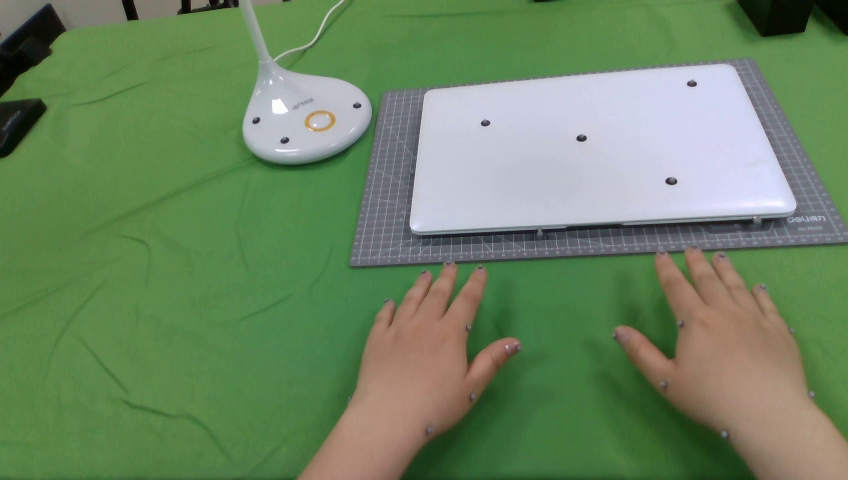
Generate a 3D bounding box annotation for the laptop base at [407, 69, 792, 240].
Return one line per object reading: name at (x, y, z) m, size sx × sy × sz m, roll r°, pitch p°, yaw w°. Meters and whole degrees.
laptop base at (0.164, -0.093, 0.642) m, size 0.354 × 0.023 × 0.233 m, roll -3°, pitch 50°, yaw 8°

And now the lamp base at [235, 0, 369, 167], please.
lamp base at (-0.167, -0.202, 0.698) m, size 0.177 × 0.182 × 0.160 m, roll 29°, pitch 58°, yaw 35°

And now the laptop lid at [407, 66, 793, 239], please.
laptop lid at (0.162, -0.099, 0.632) m, size 0.356 × 0.013 × 0.239 m, roll -2°, pitch 49°, yaw 10°
